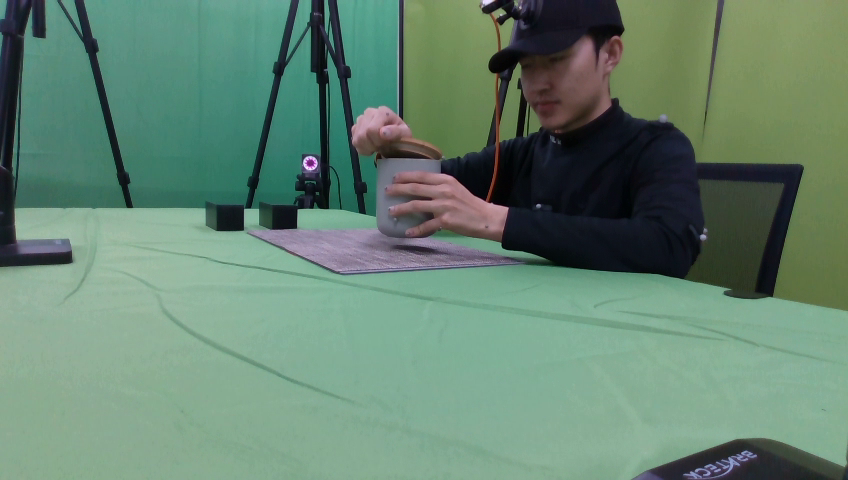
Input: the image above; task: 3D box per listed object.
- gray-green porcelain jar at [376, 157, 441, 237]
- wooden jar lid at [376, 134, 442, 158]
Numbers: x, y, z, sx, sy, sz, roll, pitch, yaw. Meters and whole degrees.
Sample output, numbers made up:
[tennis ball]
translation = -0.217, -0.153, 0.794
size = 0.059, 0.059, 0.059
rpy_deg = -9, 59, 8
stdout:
[gray-green porcelain jar]
translation = -0.026, -0.070, 0.986
size = 0.106, 0.126, 0.106
rpy_deg = 0, 6, 0
[wooden jar lid]
translation = -0.025, -0.144, 0.979
size = 0.108, 0.020, 0.108
rpy_deg = 11, -9, 2
